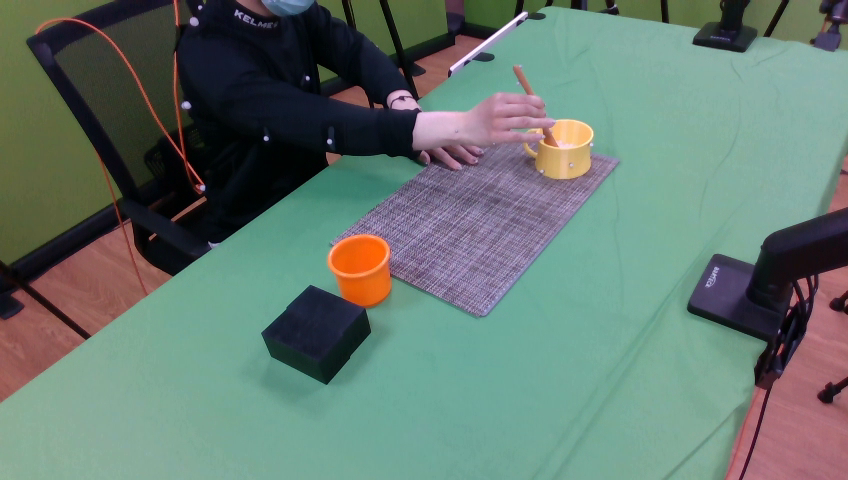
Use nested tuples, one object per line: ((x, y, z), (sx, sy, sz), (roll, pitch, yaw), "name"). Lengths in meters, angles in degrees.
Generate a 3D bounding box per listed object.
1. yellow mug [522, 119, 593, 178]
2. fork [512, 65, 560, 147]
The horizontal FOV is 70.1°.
((0.237, -0.169, 1.092), (0.130, 0.064, 0.100), (17, 46, 27), "yellow mug")
((0.196, -0.214, 1.030), (0.028, 0.209, 0.018), (9, 53, 46), "fork")
